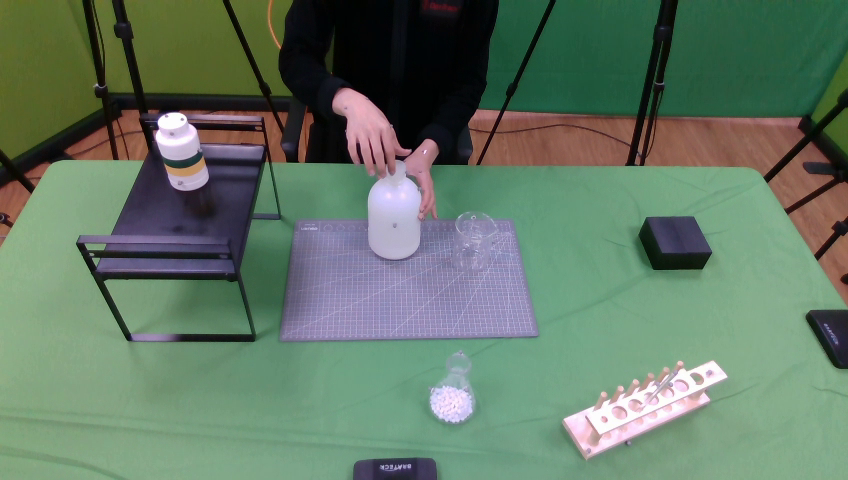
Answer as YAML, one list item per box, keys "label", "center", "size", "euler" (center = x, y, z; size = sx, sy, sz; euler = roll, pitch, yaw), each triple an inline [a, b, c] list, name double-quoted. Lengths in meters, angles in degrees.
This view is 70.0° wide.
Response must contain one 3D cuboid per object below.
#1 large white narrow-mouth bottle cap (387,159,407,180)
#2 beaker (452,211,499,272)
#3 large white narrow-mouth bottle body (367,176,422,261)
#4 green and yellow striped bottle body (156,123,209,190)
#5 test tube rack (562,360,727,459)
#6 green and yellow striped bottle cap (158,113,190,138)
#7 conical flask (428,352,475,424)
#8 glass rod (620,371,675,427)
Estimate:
- label: "large white narrow-mouth bottle cap"
  center: [-0.047, -0.124, 1.062]
  size: [0.038, 0.024, 0.037]
  euler: [3, 45, -3]
- label: "beaker"
  center: [0.093, 0.006, 1.141]
  size: [0.084, 0.101, 0.073]
  euler: [8, 47, 3]
- label: "large white narrow-mouth bottle body"
  center: [-0.055, -0.058, 1.128]
  size: [0.102, 0.195, 0.101]
  euler: [3, 45, -3]
- label: "green and yellow striped bottle body"
  center: [-0.395, -0.145, 0.989]
  size: [0.063, 0.120, 0.063]
  euler: [2, 46, -2]
- label: "test tube rack"
  center: [0.341, 0.247, 0.940]
  size: [0.243, 0.085, 0.066]
  euler: [-16, 49, -18]
- label: "green and yellow striped bottle cap"
  center: [-0.393, -0.180, 0.951]
  size: [0.045, 0.020, 0.045]
  euler: [2, 44, -2]
- label: "conical flask"
  center: [0.046, 0.220, 0.920]
  size: [0.075, 0.122, 0.075]
  euler: [2, 46, -2]
- label: "glass rod"
  center: [0.316, 0.230, 0.863]
  size: [0.008, 0.200, 0.008]
  euler: [3, 54, -3]
